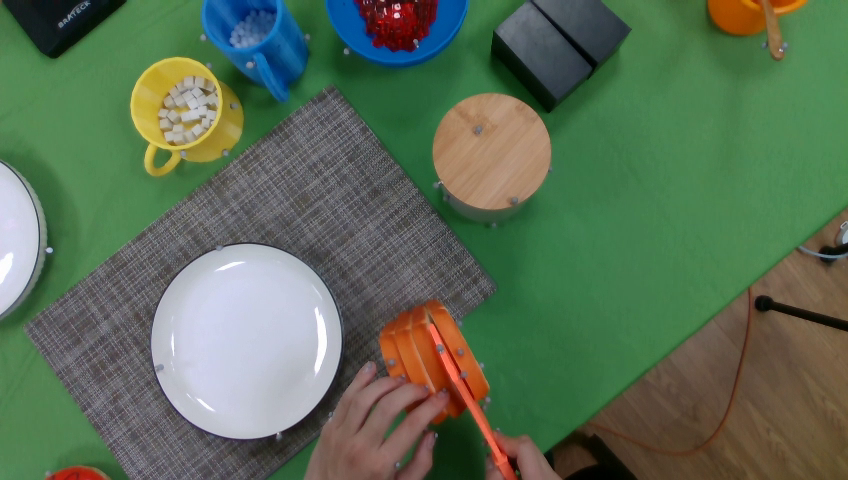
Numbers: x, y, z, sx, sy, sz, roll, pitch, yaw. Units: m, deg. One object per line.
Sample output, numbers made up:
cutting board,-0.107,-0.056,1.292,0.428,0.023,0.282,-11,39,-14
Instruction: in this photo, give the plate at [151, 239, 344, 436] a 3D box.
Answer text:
plate,-0.188,0.104,0.658,0.209,0.038,0.208,0,86,3

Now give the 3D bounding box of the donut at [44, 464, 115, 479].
donut,-0.375,0.293,0.656,0.099,0.048,0.099,0,85,1

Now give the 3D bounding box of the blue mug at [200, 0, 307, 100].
blue mug,-0.173,-0.206,0.647,0.082,0.106,0.116,-19,85,2

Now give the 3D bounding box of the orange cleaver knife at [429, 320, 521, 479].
orange cleaver knife,0.054,0.165,0.567,0.012,0.076,0.213,-27,114,1

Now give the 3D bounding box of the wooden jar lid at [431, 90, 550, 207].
wooden jar lid,0.060,-0.083,0.555,0.108,0.021,0.108,0,86,0

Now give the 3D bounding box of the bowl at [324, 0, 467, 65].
bowl,-0.027,-0.254,0.657,0.151,0.077,0.151,0,87,3

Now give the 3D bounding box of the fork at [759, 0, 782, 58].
fork,0.335,-0.233,0.603,0.028,0.019,0.206,23,44,-2

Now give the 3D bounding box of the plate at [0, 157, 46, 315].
plate,-0.524,-0.003,0.684,0.207,0.039,0.207,0,87,2

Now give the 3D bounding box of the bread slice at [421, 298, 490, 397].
bread slice,0.032,0.106,0.605,0.019,0.131,0.105,-30,90,-5

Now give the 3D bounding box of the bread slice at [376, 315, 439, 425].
bread slice,-0.016,0.127,0.607,0.018,0.134,0.106,-27,84,2

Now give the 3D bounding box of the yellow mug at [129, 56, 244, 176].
yellow mug,-0.266,-0.129,0.666,0.100,0.064,0.131,29,89,5

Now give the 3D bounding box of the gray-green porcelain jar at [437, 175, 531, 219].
gray-green porcelain jar,0.065,-0.078,0.618,0.106,0.127,0.105,0,86,3
